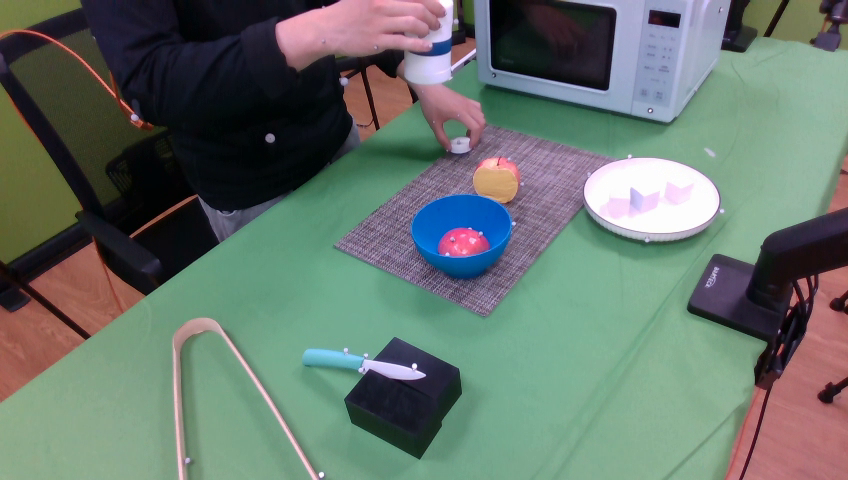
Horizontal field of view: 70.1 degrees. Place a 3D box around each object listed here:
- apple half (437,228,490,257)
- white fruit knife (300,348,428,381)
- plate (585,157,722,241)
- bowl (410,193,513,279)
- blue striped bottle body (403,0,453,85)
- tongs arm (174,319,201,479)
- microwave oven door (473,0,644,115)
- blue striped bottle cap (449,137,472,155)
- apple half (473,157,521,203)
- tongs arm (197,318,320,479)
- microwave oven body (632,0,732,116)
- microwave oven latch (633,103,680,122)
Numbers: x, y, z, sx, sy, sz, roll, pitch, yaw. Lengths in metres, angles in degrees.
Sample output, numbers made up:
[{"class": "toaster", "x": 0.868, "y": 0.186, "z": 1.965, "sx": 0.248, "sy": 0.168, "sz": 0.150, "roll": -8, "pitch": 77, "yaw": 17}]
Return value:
[{"class": "apple half", "x": 0.056, "y": 0.002, "z": 0.901, "sx": 0.081, "sy": 0.033, "sz": 0.081, "roll": -3, "pitch": 41, "yaw": 3}, {"class": "white fruit knife", "x": -0.080, "y": 0.154, "z": 0.748, "sx": 0.206, "sy": 0.027, "sz": 0.016, "roll": 1, "pitch": 20, "yaw": 34}, {"class": "plate", "x": 0.367, "y": -0.063, "z": 0.979, "sx": 0.207, "sy": 0.039, "sz": 0.206, "roll": -4, "pitch": 40, "yaw": 4}, {"class": "bowl", "x": 0.058, "y": 0.005, "z": 0.905, "sx": 0.151, "sy": 0.077, "sz": 0.150, "roll": -4, "pitch": 40, "yaw": 3}, {"class": "blue striped bottle body", "x": 0.004, "y": -0.265, "z": 0.768, "sx": 0.063, "sy": 0.121, "sz": 0.063, "roll": 0, "pitch": 36, "yaw": 0}, {"class": "tongs arm", "x": -0.272, "y": 0.234, "z": 0.723, "sx": 0.051, "sy": 0.026, "sz": 0.381, "roll": -19, "pitch": 40, "yaw": -15}, {"class": "microwave oven door", "x": 0.257, "y": -0.396, "z": 1.199, "sx": 0.353, "sy": 0.245, "sz": 0.039, "roll": 21, "pitch": 48, "yaw": 29}, {"class": "blue striped bottle cap", "x": 0.070, "y": -0.182, "z": 1.166, "sx": 0.044, "sy": 0.021, "sz": 0.044, "roll": -8, "pitch": 32, "yaw": 5}, {"class": "apple half", "x": 0.128, "y": -0.107, "z": 1.030, "sx": 0.080, "sy": 0.075, "sz": 0.053, "roll": 5, "pitch": 38, "yaw": 19}, {"class": "tongs arm", "x": -0.199, "y": 0.207, "z": 0.750, "sx": 0.028, "sy": 0.028, "sz": 0.384, "roll": -31, "pitch": 45, "yaw": -22}, {"class": "microwave oven body", "x": 0.377, "y": -0.462, "z": 1.267, "sx": 0.438, "sy": 0.261, "sz": 0.327, "roll": 21, "pitch": 48, "yaw": 30}, {"class": "microwave oven latch", "x": 0.444, "y": -0.249, "z": 1.157, "sx": 0.078, "sy": 0.029, "sz": 0.030, "roll": 20, "pitch": 48, "yaw": 30}]
